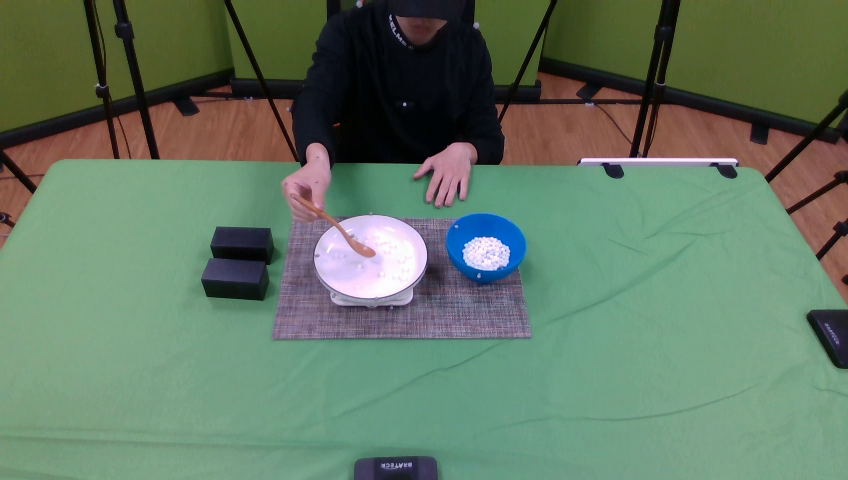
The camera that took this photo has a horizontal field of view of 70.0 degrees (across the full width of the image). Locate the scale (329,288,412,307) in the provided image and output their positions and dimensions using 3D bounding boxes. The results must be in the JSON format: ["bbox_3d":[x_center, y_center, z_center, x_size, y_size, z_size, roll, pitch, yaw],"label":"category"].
[{"bbox_3d":[-0.098,0.042,1.139,0.149,0.032,0.199,1,46,-4],"label":"scale"}]

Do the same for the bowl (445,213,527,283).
[{"bbox_3d":[0.111,0.027,1.137,0.151,0.077,0.150,2,46,-2],"label":"bowl"}]

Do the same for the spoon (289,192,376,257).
[{"bbox_3d":[-0.155,-0.026,1.043,0.021,0.195,0.041,-40,33,11],"label":"spoon"}]

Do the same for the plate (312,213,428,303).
[{"bbox_3d":[-0.097,0.035,1.100,0.209,0.038,0.208,2,46,-2],"label":"plate"}]
